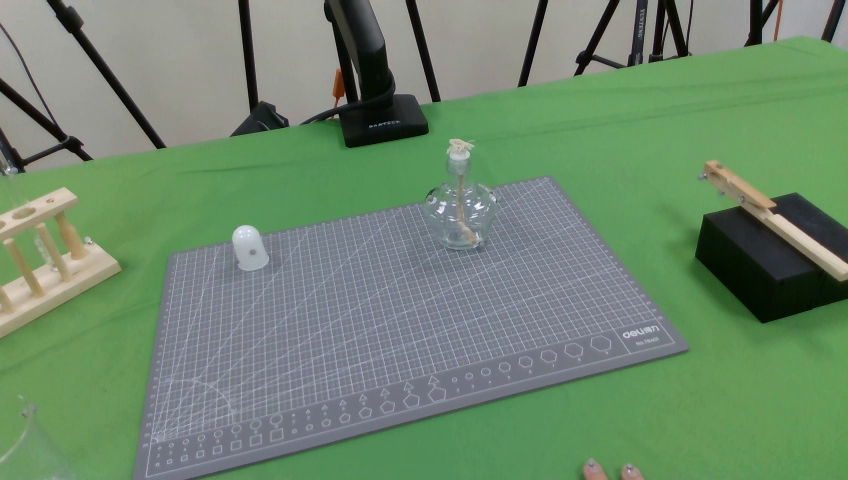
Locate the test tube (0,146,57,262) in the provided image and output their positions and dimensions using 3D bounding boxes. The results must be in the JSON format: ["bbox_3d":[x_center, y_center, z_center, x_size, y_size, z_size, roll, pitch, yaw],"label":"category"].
[{"bbox_3d":[-0.405,-0.040,0.609,0.017,0.151,0.017,-6,34,4],"label":"test tube"}]

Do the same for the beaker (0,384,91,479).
[{"bbox_3d":[-0.280,0.158,0.406,0.084,0.101,0.073,-8,38,0],"label":"beaker"}]

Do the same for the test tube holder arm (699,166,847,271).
[{"bbox_3d":[0.311,-0.026,0.548,0.015,0.013,0.176,-13,37,-10],"label":"test tube holder arm"}]

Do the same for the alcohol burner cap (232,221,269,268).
[{"bbox_3d":[-0.185,0.003,0.636,0.034,0.048,0.033,-4,38,3],"label":"alcohol burner cap"}]

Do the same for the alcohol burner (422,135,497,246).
[{"bbox_3d":[0.036,-0.054,0.619,0.078,0.120,0.077,-2,38,2],"label":"alcohol burner"}]

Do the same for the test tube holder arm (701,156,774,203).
[{"bbox_3d":[0.298,-0.056,0.580,0.015,0.010,0.087,-13,38,-10],"label":"test tube holder arm"}]

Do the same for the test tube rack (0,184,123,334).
[{"bbox_3d":[-0.436,0.044,0.587,0.066,0.086,0.242,26,48,35],"label":"test tube rack"}]
